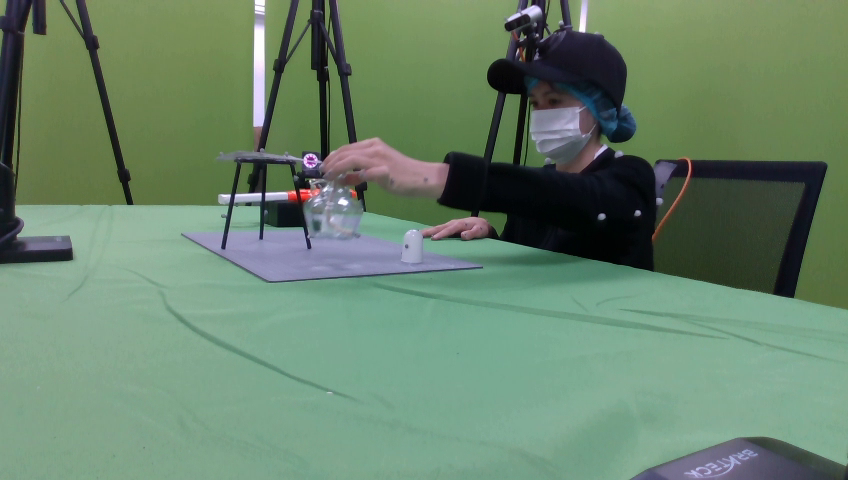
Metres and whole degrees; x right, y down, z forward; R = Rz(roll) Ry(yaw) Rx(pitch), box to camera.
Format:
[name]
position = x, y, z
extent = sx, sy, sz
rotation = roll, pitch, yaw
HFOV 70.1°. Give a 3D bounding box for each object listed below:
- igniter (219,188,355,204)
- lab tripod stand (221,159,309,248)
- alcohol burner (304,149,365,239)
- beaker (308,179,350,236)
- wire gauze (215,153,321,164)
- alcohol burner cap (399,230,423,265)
[igniter]
position = -0.274, -0.089, 1.237
extent = 0.278, 0.025, 0.057
rotation = -5, 11, -30
[lab tripod stand]
position = -0.244, -0.057, 0.917
extent = 0.148, 0.131, 0.148
rotation = 1, 7, 0
[alcohol burner]
position = -0.115, -0.060, 0.787
extent = 0.078, 0.119, 0.078
rotation = 6, 3, 0
[beaker]
position = -0.176, -0.060, 1.104
extent = 0.073, 0.100, 0.084
rotation = 8, 10, 39
[wire gauze]
position = -0.235, -0.123, 0.906
extent = 0.126, 0.011, 0.121
rotation = -2, 7, -33
[alcohol burner cap]
position = -0.017, 0.010, 0.837
extent = 0.034, 0.048, 0.034
rotation = 3, 6, 0
